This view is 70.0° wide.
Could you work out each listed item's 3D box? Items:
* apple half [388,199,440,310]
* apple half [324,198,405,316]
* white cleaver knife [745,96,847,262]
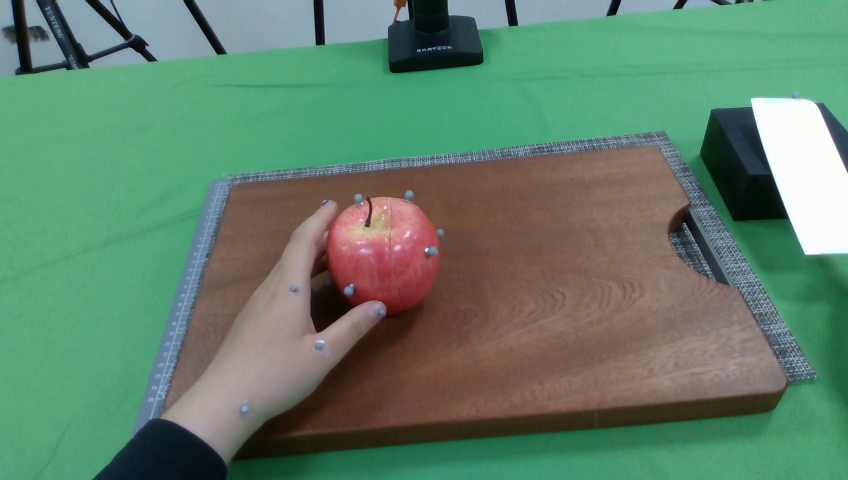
[{"bbox_3d":[-0.004,0.010,0.432,0.033,0.082,0.080,-9,43,4],"label":"apple half"},{"bbox_3d":[-0.043,0.014,0.433,0.053,0.075,0.080,-8,46,5],"label":"apple half"},{"bbox_3d":[0.310,-0.008,0.459,0.066,0.022,0.283,-7,54,10],"label":"white cleaver knife"}]
